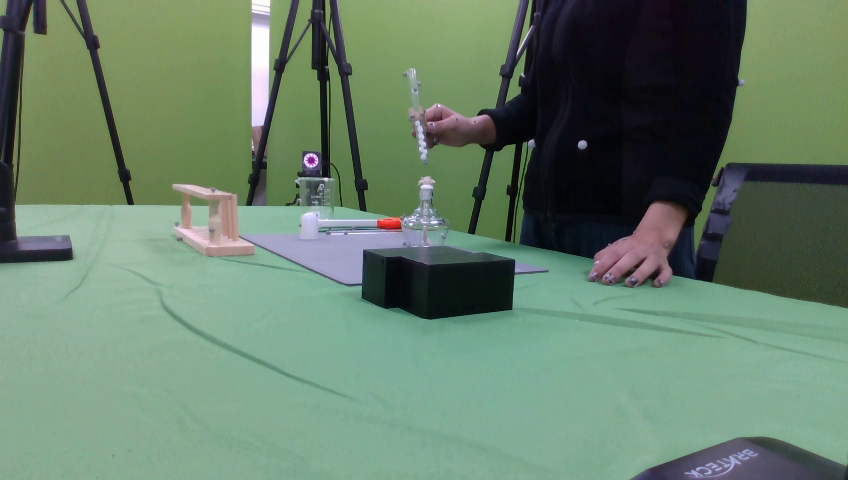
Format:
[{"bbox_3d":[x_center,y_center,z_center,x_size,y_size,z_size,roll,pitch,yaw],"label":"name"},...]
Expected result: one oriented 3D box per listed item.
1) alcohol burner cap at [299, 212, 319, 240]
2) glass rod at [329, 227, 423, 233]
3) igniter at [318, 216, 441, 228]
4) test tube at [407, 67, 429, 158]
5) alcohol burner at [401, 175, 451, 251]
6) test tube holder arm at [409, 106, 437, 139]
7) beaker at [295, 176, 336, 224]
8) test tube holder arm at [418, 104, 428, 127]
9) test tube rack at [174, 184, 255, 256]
[{"bbox_3d":[-0.195,-0.025,1.025,0.034,0.048,0.034,2,7,0],"label":"alcohol burner cap"},{"bbox_3d":[-0.087,-0.019,1.148,0.201,0.008,0.008,-2,8,-32],"label":"glass rod"},{"bbox_3d":[-0.090,-0.036,1.222,0.278,0.025,0.057,-2,-2,-32],"label":"igniter"},{"bbox_3d":[-0.009,-0.200,0.946,0.017,0.150,0.017,-8,-10,-1],"label":"test tube"},{"bbox_3d":[0.003,-0.042,0.947,0.078,0.119,0.078,1,9,0],"label":"alcohol burner"},{"bbox_3d":[0.000,-0.195,1.014,0.013,0.015,0.179,-6,-4,11],"label":"test tube holder arm"},{"bbox_3d":[-0.224,-0.080,1.247,0.084,0.100,0.073,-1,8,-18],"label":"beaker"},{"bbox_3d":[-0.001,-0.198,0.969,0.010,0.015,0.088,-6,-4,3],"label":"test tube holder arm"},{"bbox_3d":[-0.327,-0.036,0.928,0.067,0.085,0.241,-2,9,-32],"label":"test tube rack"}]
